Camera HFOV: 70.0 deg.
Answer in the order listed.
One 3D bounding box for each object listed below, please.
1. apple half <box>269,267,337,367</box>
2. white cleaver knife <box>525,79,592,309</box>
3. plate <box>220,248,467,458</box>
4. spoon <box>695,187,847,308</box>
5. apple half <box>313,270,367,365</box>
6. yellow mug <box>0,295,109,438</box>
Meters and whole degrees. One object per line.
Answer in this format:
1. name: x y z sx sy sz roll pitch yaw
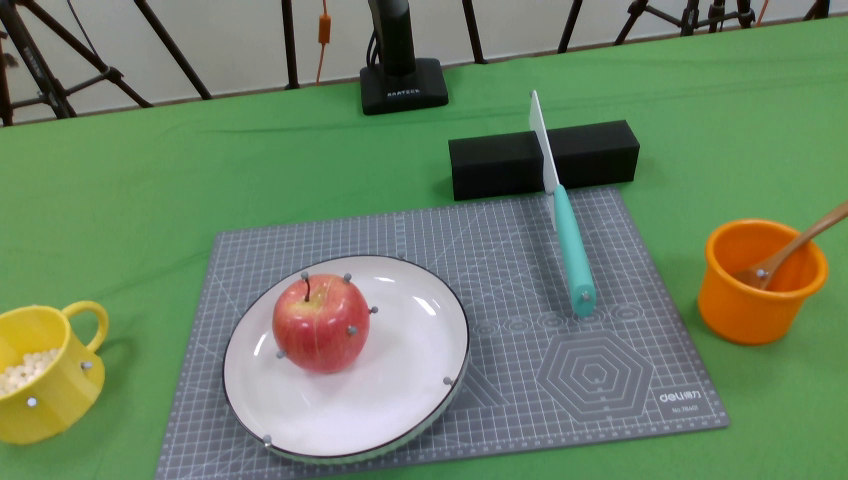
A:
1. apple half: -0.102 0.066 0.515 0.053 0.075 0.080 -1 48 13
2. white cleaver knife: 0.132 -0.055 0.623 0.021 0.066 0.283 -6 55 4
3. plate: -0.067 0.092 0.522 0.209 0.038 0.207 -3 45 3
4. spoon: 0.310 -0.006 0.500 0.022 0.194 0.041 27 32 -30
5. apple half: -0.063 0.066 0.508 0.032 0.082 0.080 -2 45 12
6. yellow mug: -0.334 0.099 0.530 0.099 0.064 0.130 19 49 24
